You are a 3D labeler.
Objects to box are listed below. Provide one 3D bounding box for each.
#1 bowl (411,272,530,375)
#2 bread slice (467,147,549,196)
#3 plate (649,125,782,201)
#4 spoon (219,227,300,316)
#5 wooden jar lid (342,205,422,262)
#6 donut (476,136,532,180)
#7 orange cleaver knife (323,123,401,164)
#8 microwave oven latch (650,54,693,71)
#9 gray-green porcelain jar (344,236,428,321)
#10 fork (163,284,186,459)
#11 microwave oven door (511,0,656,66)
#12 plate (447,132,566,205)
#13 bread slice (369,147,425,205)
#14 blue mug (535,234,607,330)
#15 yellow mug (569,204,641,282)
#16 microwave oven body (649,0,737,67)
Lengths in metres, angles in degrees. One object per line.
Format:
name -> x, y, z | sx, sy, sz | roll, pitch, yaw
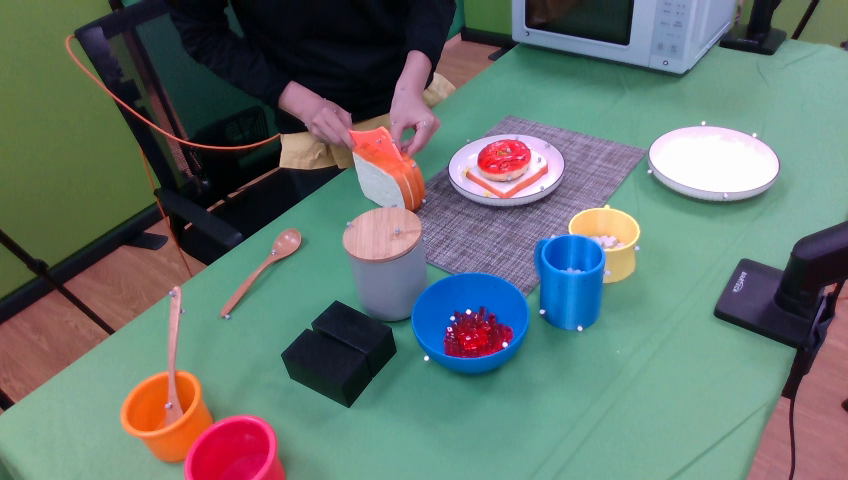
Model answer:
bowl -> 0.061, 0.120, 0.780 | 0.151, 0.077, 0.150 | -4, 40, 4
bread slice -> 0.156, -0.128, 1.084 | 0.132, 0.019, 0.104 | -34, 48, -23
plate -> 0.493, -0.127, 1.036 | 0.207, 0.039, 0.206 | -4, 41, 4
spoon -> -0.261, 0.046, 0.954 | 0.041, 0.021, 0.194 | 27, 48, 10
wooden jar lid -> -0.055, -0.005, 0.808 | 0.108, 0.021, 0.108 | -6, 41, 6
donut -> 0.140, -0.146, 1.059 | 0.099, 0.048, 0.098 | -7, 41, 6
orange cleaver knife -> -0.112, -0.172, 1.063 | 0.012, 0.077, 0.209 | -35, 32, -29
microwave oven latch -> 0.531, -0.386, 1.301 | 0.078, 0.029, 0.030 | 26, 51, 33
gray-green porcelain jar -> -0.049, 0.042, 0.849 | 0.106, 0.127, 0.105 | -4, 41, 4
fork -> -0.302, 0.157, 0.733 | 0.028, 0.019, 0.207 | -4, 84, 15
microwave oven door -> 0.351, -0.539, 1.349 | 0.353, 0.245, 0.039 | 24, 50, 31
plate -> 0.146, -0.124, 1.076 | 0.209, 0.038, 0.208 | -4, 41, 4
bread slice -> -0.051, -0.116, 1.053 | 0.018, 0.107, 0.133 | -37, 54, -28
blue mug -> 0.191, 0.048, 0.824 | 0.082, 0.106, 0.115 | -26, 44, -20
yellow mug -> 0.268, -0.005, 0.904 | 0.099, 0.064, 0.130 | 7, 41, 15
microwave oven body -> 0.475, -0.602, 1.411 | 0.438, 0.261, 0.327 | 23, 50, 32
